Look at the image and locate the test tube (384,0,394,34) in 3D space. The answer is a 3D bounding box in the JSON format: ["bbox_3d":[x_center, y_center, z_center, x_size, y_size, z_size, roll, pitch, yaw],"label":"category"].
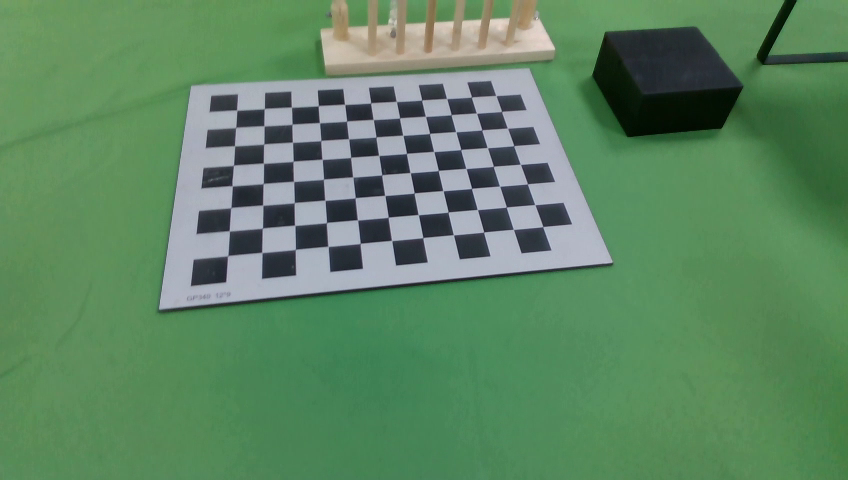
[{"bbox_3d":[-0.025,-0.269,0.588,0.017,0.151,0.017,5,50,-6],"label":"test tube"}]

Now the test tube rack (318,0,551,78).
[{"bbox_3d":[0.013,-0.230,0.623,0.243,0.086,0.066,-6,51,-9],"label":"test tube rack"}]
